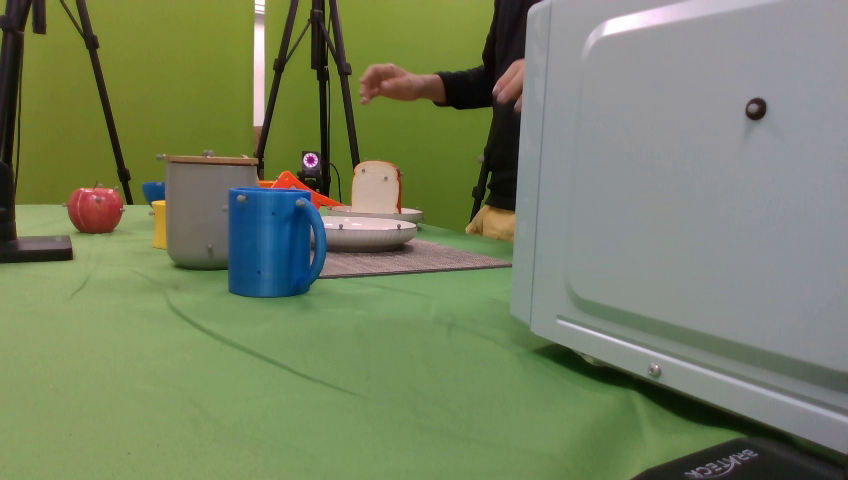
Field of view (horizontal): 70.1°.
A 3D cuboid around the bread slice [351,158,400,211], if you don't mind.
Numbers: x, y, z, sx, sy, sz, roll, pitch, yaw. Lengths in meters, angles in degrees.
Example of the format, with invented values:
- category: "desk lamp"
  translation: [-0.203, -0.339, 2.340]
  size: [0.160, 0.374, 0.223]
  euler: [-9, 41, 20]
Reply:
- category: "bread slice"
  translation: [-0.102, -0.104, 1.273]
  size: [0.107, 0.134, 0.018]
  euler: [-1, 4, 4]

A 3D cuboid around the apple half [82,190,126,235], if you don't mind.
- category: "apple half"
  translation: [-0.516, -0.046, 0.994]
  size: [0.032, 0.081, 0.081]
  euler: [0, 6, 26]

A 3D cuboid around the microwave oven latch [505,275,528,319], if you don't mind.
- category: "microwave oven latch"
  translation: [0.100, 0.042, 0.471]
  size: [0.079, 0.029, 0.030]
  euler: [-1, 8, -28]

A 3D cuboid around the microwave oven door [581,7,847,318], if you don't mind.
- category: "microwave oven door"
  translation: [0.295, -0.067, 0.569]
  size: [0.358, 0.243, 0.039]
  euler: [-3, 8, -31]

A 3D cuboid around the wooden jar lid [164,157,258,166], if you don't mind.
- category: "wooden jar lid"
  translation: [-0.261, -0.093, 0.746]
  size: [0.108, 0.020, 0.108]
  euler: [1, 9, 0]

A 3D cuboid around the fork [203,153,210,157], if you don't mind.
- category: "fork"
  translation: [-0.480, -0.136, 1.412]
  size: [0.028, 0.018, 0.207]
  euler: [0, -34, -1]

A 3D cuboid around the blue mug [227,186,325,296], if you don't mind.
- category: "blue mug"
  translation: [-0.147, 0.000, 0.618]
  size: [0.116, 0.106, 0.083]
  euler: [7, 9, 32]

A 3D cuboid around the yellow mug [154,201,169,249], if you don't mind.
- category: "yellow mug"
  translation: [-0.337, -0.022, 0.899]
  size: [0.130, 0.064, 0.100]
  euler: [8, 9, 34]

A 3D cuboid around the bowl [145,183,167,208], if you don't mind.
- category: "bowl"
  translation: [-0.459, -0.068, 1.175]
  size: [0.151, 0.077, 0.151]
  euler: [3, 7, 0]

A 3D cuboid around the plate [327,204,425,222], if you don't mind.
- category: "plate"
  translation: [-0.102, -0.053, 1.299]
  size: [0.209, 0.038, 0.209]
  euler: [2, 7, 0]

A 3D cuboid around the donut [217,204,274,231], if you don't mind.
- category: "donut"
  translation: [-0.317, -0.038, 1.080]
  size: [0.099, 0.048, 0.099]
  euler: [3, 7, 0]

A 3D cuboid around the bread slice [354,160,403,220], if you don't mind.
- category: "bread slice"
  translation: [-0.096, -0.110, 1.324]
  size: [0.105, 0.131, 0.019]
  euler: [5, 2, 5]

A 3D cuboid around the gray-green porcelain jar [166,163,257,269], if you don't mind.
- category: "gray-green porcelain jar"
  translation: [-0.263, -0.031, 0.754]
  size: [0.106, 0.126, 0.106]
  euler: [2, 7, 0]

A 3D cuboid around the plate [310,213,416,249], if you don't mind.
- category: "plate"
  translation: [-0.117, -0.014, 0.967]
  size: [0.208, 0.039, 0.207]
  euler: [2, 8, 0]

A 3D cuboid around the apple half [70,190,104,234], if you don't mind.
- category: "apple half"
  translation: [-0.552, -0.047, 1.009]
  size: [0.053, 0.074, 0.081]
  euler: [-1, 9, 26]

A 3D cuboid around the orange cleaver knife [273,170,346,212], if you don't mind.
- category: "orange cleaver knife"
  translation: [-0.253, -0.089, 1.368]
  size: [0.212, 0.077, 0.012]
  euler: [26, -8, -42]

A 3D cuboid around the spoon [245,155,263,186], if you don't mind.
- category: "spoon"
  translation: [-0.421, -0.150, 1.540]
  size: [0.042, 0.193, 0.021]
  euler: [-5, -35, -37]

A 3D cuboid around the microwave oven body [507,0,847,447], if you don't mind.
- category: "microwave oven body"
  translation: [0.331, -0.042, 0.425]
  size: [0.444, 0.260, 0.324]
  euler: [-2, 8, -31]
